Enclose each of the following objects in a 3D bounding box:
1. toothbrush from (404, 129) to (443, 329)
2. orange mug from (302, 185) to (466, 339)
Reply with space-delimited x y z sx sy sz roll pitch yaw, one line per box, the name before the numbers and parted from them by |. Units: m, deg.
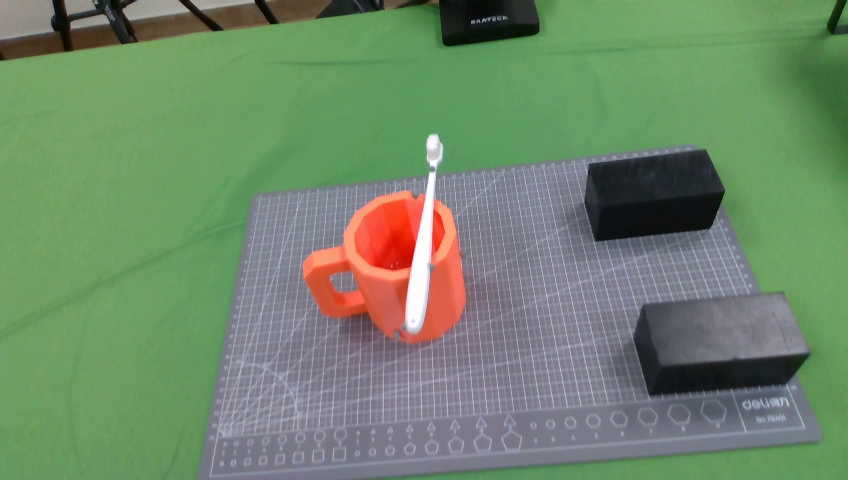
toothbrush | 0.001 -0.016 0.446 0.014 0.017 0.180 2 53 7
orange mug | -0.030 0.023 0.488 0.126 0.102 0.082 -10 52 -4
